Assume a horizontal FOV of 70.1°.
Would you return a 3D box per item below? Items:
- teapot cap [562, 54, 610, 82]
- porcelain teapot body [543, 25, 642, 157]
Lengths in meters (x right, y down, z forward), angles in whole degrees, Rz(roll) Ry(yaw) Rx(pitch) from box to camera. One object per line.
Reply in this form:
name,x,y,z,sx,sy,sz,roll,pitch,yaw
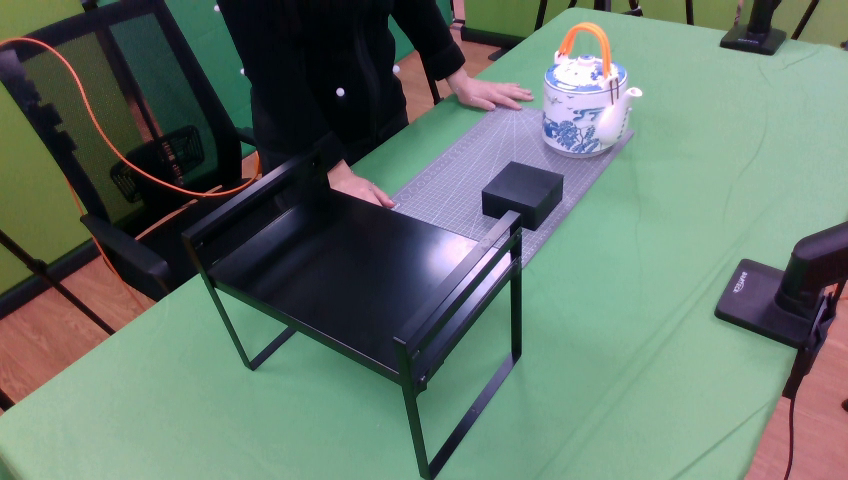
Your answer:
teapot cap,0.286,-0.302,1.064,0.085,0.044,0.085,-1,41,1
porcelain teapot body,0.306,-0.258,1.070,0.146,0.226,0.203,-26,44,-20
